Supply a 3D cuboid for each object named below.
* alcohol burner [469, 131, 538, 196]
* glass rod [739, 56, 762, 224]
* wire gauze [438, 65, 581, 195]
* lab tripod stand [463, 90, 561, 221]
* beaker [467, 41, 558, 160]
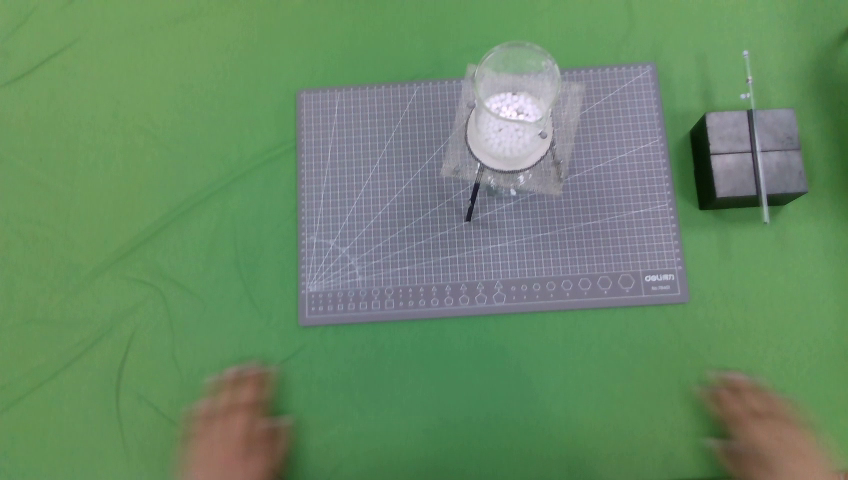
[{"bbox_3d":[0.089,-0.092,0.678,0.078,0.119,0.077,-1,78,5],"label":"alcohol burner"},{"bbox_3d":[0.365,-0.114,0.677,0.008,0.008,0.199,0,78,3],"label":"glass rod"},{"bbox_3d":[0.087,-0.111,0.605,0.121,0.011,0.124,13,76,5],"label":"wire gauze"},{"bbox_3d":[0.085,-0.098,0.670,0.148,0.132,0.147,-1,77,5],"label":"lab tripod stand"},{"bbox_3d":[0.081,-0.120,0.558,0.074,0.101,0.083,-31,77,-3],"label":"beaker"}]
